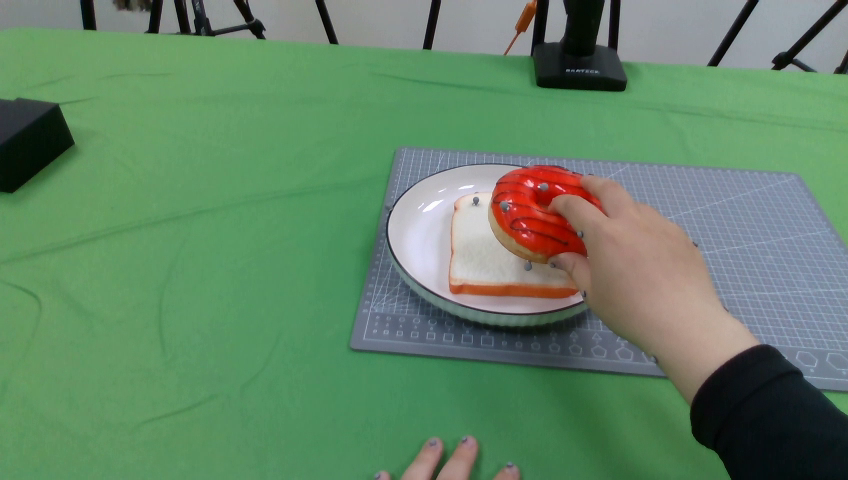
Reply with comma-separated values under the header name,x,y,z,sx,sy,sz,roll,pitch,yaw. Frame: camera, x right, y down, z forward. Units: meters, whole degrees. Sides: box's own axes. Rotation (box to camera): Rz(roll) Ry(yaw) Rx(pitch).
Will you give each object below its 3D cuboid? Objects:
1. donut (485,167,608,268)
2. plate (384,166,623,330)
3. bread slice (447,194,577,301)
name,x,y,z,sx,sy,sz,roll,pitch,yaw
donut,0.098,-0.018,0.484,0.099,0.048,0.098,3,48,-3
plate,0.069,0.006,0.542,0.209,0.038,0.207,2,40,-1
bread slice,0.071,0.004,0.547,0.107,0.018,0.133,1,41,-4
